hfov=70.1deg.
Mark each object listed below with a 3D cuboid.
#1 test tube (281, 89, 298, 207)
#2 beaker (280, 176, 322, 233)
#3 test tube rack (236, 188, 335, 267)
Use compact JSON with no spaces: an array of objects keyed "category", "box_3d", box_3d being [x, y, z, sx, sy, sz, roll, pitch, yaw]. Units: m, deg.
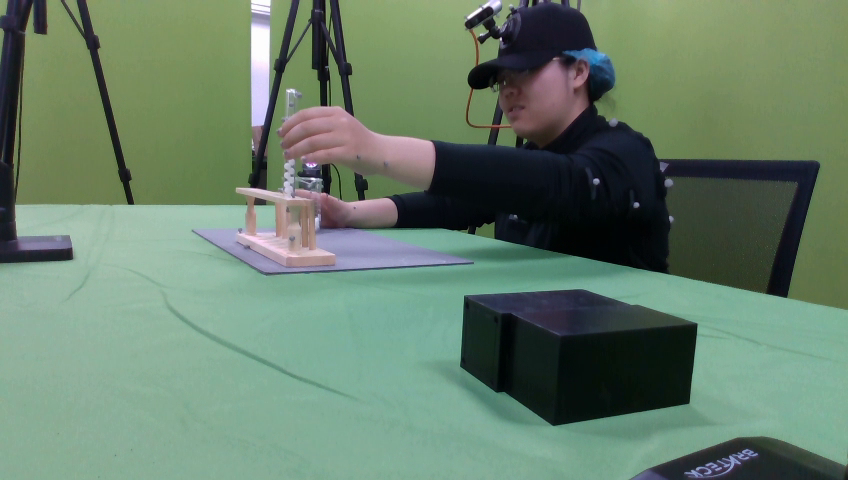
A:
[{"category":"test tube","box_3d":[-0.173,-0.117,0.775,0.017,0.150,0.017,3,4,0]},{"category":"beaker","box_3d":[-0.225,-0.065,1.111,0.074,0.100,0.083,-2,10,-30]},{"category":"test tube rack","box_3d":[-0.202,-0.024,0.855,0.067,0.085,0.241,-2,8,-31]}]
